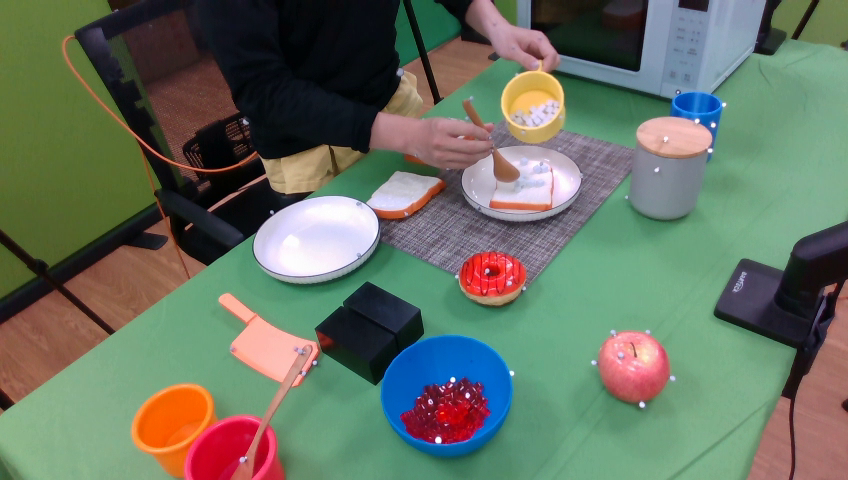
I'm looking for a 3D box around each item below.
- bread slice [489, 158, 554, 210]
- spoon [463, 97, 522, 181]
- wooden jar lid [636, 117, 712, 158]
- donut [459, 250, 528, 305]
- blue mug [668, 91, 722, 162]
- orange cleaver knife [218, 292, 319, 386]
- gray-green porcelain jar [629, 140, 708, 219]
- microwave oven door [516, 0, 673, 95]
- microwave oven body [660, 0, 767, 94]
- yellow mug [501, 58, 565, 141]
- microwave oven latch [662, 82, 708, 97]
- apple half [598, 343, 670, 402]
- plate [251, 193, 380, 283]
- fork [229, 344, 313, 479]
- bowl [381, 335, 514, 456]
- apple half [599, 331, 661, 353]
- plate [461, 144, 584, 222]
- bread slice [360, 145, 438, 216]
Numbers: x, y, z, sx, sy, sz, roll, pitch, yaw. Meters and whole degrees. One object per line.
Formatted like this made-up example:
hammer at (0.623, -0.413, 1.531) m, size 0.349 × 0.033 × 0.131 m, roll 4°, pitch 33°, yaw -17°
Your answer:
bread slice at (0.173, -0.100, 1.047) m, size 0.104 × 0.019 × 0.131 m, roll 4°, pitch 43°, yaw 12°
spoon at (0.100, -0.146, 0.906) m, size 0.041 × 0.195 × 0.021 m, roll -13°, pitch 49°, yaw 25°
wooden jar lid at (0.377, -0.151, 0.917) m, size 0.108 × 0.021 × 0.108 m, roll -2°, pitch 41°, yaw 2°
donut at (0.100, 0.053, 0.873) m, size 0.099 × 0.048 × 0.098 m, roll -5°, pitch 40°, yaw 4°
blue mug at (0.474, -0.207, 1.078) m, size 0.082 × 0.106 × 0.116 m, roll 4°, pitch 42°, yaw 13°
orange cleaver knife at (-0.235, 0.136, 0.850) m, size 0.209 × 0.012 × 0.077 m, roll 25°, pitch 56°, yaw 30°
gray-green porcelain jar at (0.383, -0.104, 0.958) m, size 0.106 × 0.127 × 0.105 m, roll -4°, pitch 41°, yaw 4°
microwave oven door at (0.344, -0.458, 1.257) m, size 0.353 × 0.245 × 0.039 m, roll 26°, pitch 52°, yaw 33°
microwave oven body at (0.473, -0.517, 1.313) m, size 0.438 × 0.261 × 0.327 m, roll 26°, pitch 51°, yaw 34°
yellow mug at (0.184, -0.236, 0.998) m, size 0.099 × 0.064 × 0.130 m, roll 8°, pitch 82°, yaw 16°
microwave oven latch at (0.517, -0.298, 1.203) m, size 0.078 × 0.029 × 0.030 m, roll 28°, pitch 53°, yaw 35°
apple half at (0.247, 0.161, 0.710) m, size 0.081 × 0.075 × 0.053 m, roll 2°, pitch 47°, yaw 5°
plate at (-0.173, -0.001, 0.985) m, size 0.209 × 0.038 × 0.208 m, roll -4°, pitch 41°, yaw 4°
fork at (-0.173, 0.205, 0.662) m, size 0.028 × 0.019 × 0.207 m, roll 29°, pitch 94°, yaw 36°
bowl at (0.029, 0.192, 0.701) m, size 0.151 × 0.077 × 0.150 m, roll -4°, pitch 40°, yaw 4°
apple half at (0.249, 0.134, 0.738) m, size 0.081 × 0.081 × 0.032 m, roll -1°, pitch 46°, yaw 7°
plate at (0.167, -0.095, 1.040) m, size 0.207 × 0.039 × 0.206 m, roll -4°, pitch 41°, yaw 4°
bread slice at (-0.053, -0.103, 1.046) m, size 0.106 × 0.018 × 0.134 m, roll 18°, pitch 66°, yaw 23°
